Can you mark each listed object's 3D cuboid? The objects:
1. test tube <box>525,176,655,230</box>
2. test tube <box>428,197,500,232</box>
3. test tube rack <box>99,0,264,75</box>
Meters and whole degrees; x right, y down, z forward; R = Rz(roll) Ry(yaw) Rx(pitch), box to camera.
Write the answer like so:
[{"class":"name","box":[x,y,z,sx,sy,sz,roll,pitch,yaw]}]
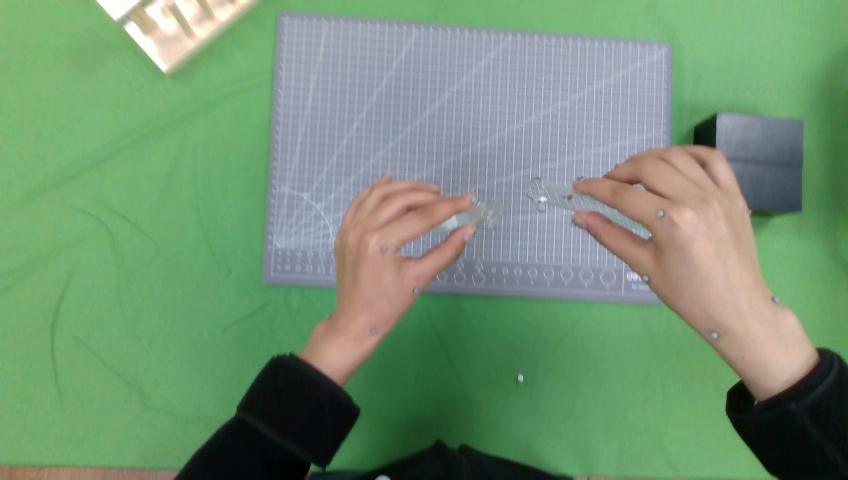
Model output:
[{"class":"test tube","box":[0.128,-0.025,0.449,0.152,0.017,0.017,10,83,-40]},{"class":"test tube","box":[0.029,-0.019,0.504,0.017,0.150,0.017,1,86,-15]},{"class":"test tube rack","box":[-0.209,-0.287,0.635,0.242,0.085,0.067,-42,89,-6]}]
